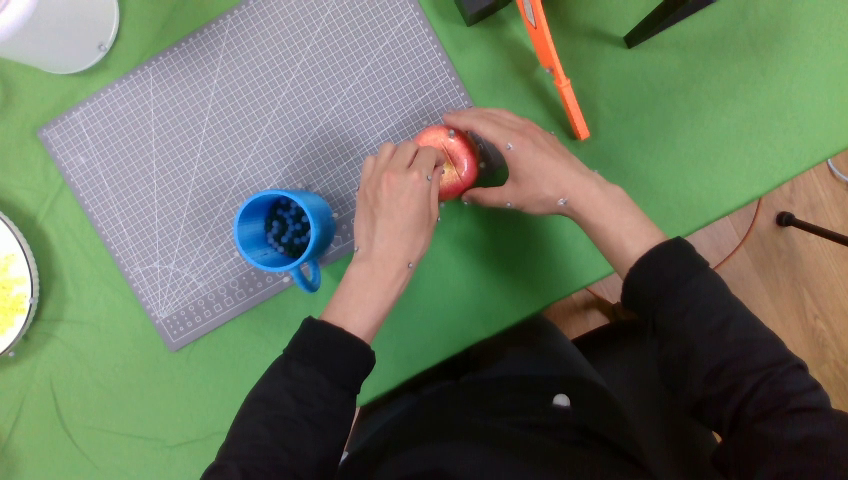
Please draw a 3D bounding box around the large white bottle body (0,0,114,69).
[{"bbox_3d":[-0.412,-0.249,0.592,0.130,0.184,0.130,0,95,2],"label":"large white bottle body"}]

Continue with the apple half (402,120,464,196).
[{"bbox_3d":[0.004,-0.083,0.652,0.053,0.074,0.081,-25,102,8],"label":"apple half"}]

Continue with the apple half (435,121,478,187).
[{"bbox_3d":[0.040,-0.097,0.646,0.033,0.081,0.081,-25,94,10],"label":"apple half"}]

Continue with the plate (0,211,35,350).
[{"bbox_3d":[-0.548,0.041,0.699,0.209,0.038,0.209,0,97,2],"label":"plate"}]

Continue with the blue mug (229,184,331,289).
[{"bbox_3d":[-0.144,-0.002,0.648,0.082,0.105,0.116,-21,95,4],"label":"blue mug"}]

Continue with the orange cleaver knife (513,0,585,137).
[{"bbox_3d":[0.122,-0.202,0.631,0.012,0.076,0.213,-30,125,4],"label":"orange cleaver knife"}]
